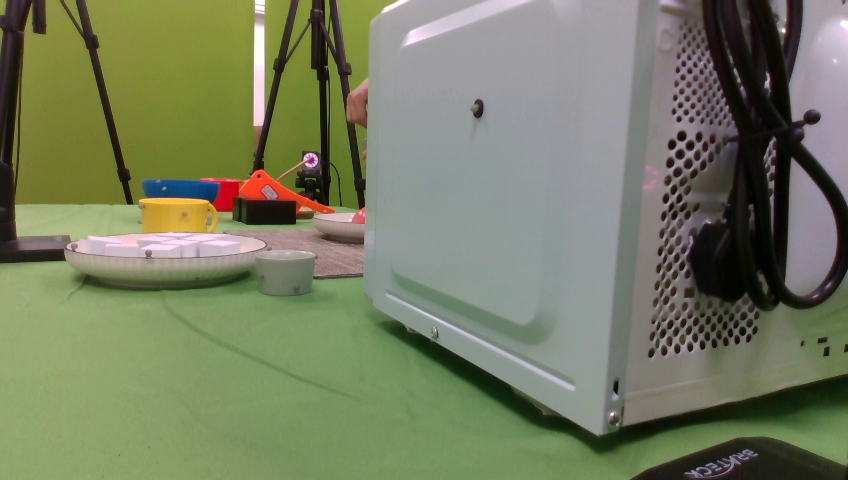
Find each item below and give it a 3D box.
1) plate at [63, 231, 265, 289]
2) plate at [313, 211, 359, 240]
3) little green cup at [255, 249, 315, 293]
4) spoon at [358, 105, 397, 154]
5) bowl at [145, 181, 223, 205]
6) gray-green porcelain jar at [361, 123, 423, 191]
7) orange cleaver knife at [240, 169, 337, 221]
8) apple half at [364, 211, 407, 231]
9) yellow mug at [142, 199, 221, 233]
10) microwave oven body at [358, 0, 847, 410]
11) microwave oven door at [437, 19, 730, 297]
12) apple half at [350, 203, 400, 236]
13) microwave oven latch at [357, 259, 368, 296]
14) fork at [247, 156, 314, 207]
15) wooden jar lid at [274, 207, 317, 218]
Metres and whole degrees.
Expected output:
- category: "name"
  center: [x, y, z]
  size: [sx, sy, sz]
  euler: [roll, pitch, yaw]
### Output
- category: "plate"
  center: [-0.288, 0.021, 0.687]
  size: [0.208, 0.039, 0.207]
  euler: [2, 8, 0]
- category: "plate"
  center: [-0.091, -0.026, 1.063]
  size: [0.209, 0.038, 0.209]
  euler: [2, 7, 0]
- category: "little green cup"
  center: [-0.144, 0.032, 0.627]
  size: [0.061, 0.038, 0.061]
  euler: [2, 6, 0]
- category: "spoon"
  center: [-0.107, -0.246, 1.329]
  size: [0.042, 0.021, 0.193]
  euler: [-9, 50, -26]
- category: "bowl"
  center: [-0.499, -0.081, 1.261]
  size: [0.151, 0.077, 0.151]
  euler: [2, 8, 0]
- category: "gray-green porcelain jar"
  center: [-0.066, -0.176, 1.312]
  size: [0.106, 0.126, 0.106]
  euler: [-18, 10, 4]
- category: "orange cleaver knife"
  center: [-0.287, -0.081, 1.298]
  size: [0.212, 0.077, 0.012]
  euler: [25, -3, -31]
- category: "apple half"
  center: [-0.068, -0.037, 1.104]
  size: [0.081, 0.033, 0.081]
  euler: [-1, 10, 0]
- category: "yellow mug"
  center: [-0.373, -0.030, 0.948]
  size: [0.099, 0.064, 0.131]
  euler: [6, 8, 30]
- category: "microwave oven body"
  center: [0.210, -0.051, 0.471]
  size: [0.444, 0.260, 0.324]
  euler: [-1, 7, -28]
- category: "microwave oven door"
  center: [0.180, -0.076, 0.618]
  size: [0.358, 0.243, 0.039]
  euler: [-2, 9, -28]
- category: "apple half"
  center: [-0.081, -0.036, 1.024]
  size: [0.081, 0.053, 0.074]
  euler: [-2, 11, -33]
- category: "microwave oven latch"
  center: [-0.019, 0.031, 0.528]
  size: [0.079, 0.029, 0.030]
  euler: [-1, 7, -25]
- category: "fork"
  center: [-0.360, -0.147, 1.523]
  size: [0.207, 0.019, 0.028]
  euler: [-43, 17, -6]
- category: "wooden jar lid"
  center: [-0.303, -0.065, 1.409]
  size: [0.108, 0.020, 0.108]
  euler: [3, 9, 0]
